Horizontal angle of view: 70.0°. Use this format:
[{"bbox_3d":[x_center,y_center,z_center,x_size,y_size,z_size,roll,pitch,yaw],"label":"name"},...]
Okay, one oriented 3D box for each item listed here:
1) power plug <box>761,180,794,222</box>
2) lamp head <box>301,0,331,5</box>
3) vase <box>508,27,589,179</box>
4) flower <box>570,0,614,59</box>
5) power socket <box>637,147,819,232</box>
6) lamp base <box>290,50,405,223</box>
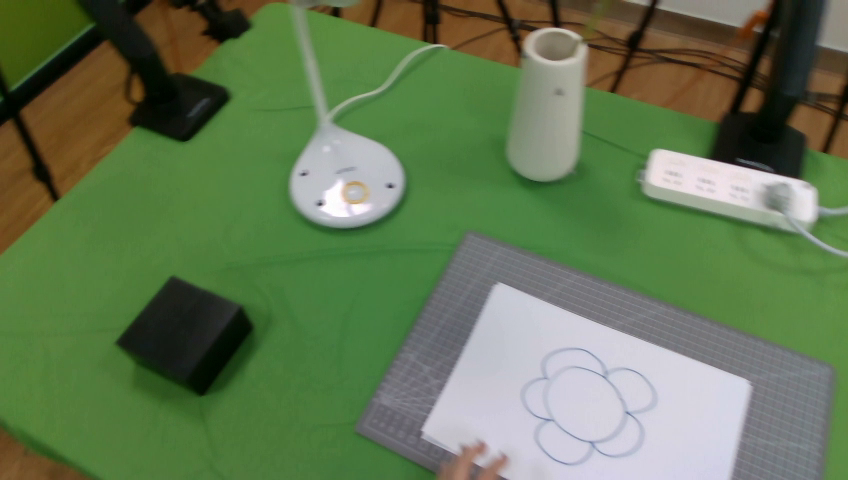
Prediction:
[{"bbox_3d":[0.438,-0.045,0.760,0.035,0.053,0.072,26,66,20],"label":"power plug"},{"bbox_3d":[-0.088,-0.288,0.538,0.112,0.112,0.123,-32,97,-19],"label":"lamp head"},{"bbox_3d":[0.162,-0.173,0.789,0.098,0.202,0.097,-2,54,3],"label":"vase"},{"bbox_3d":[0.172,-0.207,0.712,0.044,0.363,0.038,-13,72,-16],"label":"flower"},{"bbox_3d":[0.403,-0.069,0.806,0.226,0.033,0.072,17,58,13],"label":"power socket"},{"bbox_3d":[-0.116,-0.141,0.791,0.161,0.182,0.177,-25,54,-15],"label":"lamp base"}]
